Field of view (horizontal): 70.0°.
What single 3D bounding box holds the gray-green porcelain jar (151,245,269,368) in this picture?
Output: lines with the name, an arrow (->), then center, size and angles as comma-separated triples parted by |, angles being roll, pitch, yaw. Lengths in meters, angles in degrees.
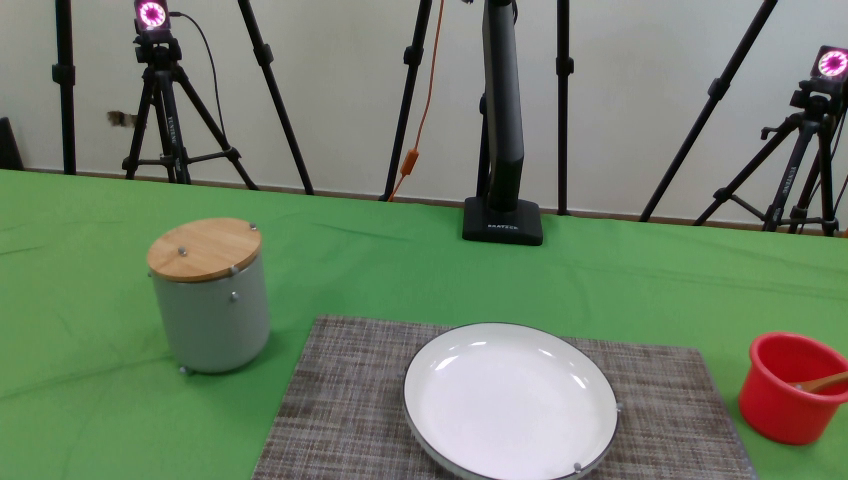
gray-green porcelain jar -> -0.221, 0.062, 0.640 | 0.106, 0.127, 0.105 | 3, 33, -1

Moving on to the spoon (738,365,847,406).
spoon -> 0.401, 0.128, 0.576 | 0.193, 0.022, 0.041 | -30, 9, 40

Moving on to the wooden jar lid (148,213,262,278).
wooden jar lid -> -0.217, 0.008, 0.606 | 0.108, 0.021, 0.107 | 0, 33, 0

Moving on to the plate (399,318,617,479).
plate -> 0.079, 0.157, 0.594 | 0.208, 0.039, 0.206 | 3, 32, -1
